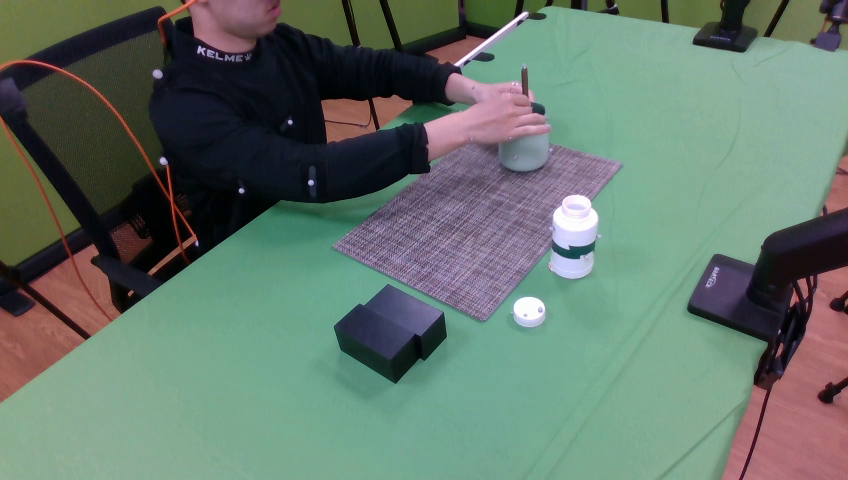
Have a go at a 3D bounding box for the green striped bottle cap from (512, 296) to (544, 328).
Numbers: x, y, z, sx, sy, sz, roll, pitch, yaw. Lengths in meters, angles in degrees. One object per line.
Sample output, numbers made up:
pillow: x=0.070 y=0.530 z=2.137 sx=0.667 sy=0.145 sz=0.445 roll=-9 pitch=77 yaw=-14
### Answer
green striped bottle cap: x=0.144 y=0.099 z=0.837 sx=0.044 sy=0.020 sz=0.044 roll=-1 pitch=43 yaw=2

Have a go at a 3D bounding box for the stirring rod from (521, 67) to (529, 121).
stirring rod: x=0.178 y=-0.214 z=1.055 sx=0.005 sy=0.177 sz=0.014 roll=18 pitch=42 yaw=35

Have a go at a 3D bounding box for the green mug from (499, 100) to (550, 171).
green mug: x=0.183 y=-0.197 z=1.101 sx=0.092 sy=0.105 sz=0.125 roll=1 pitch=41 yaw=10

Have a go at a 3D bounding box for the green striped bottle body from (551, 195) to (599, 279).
green striped bottle body: x=0.217 y=-0.006 z=0.870 sx=0.063 sy=0.120 sz=0.063 roll=-4 pitch=41 yaw=4
